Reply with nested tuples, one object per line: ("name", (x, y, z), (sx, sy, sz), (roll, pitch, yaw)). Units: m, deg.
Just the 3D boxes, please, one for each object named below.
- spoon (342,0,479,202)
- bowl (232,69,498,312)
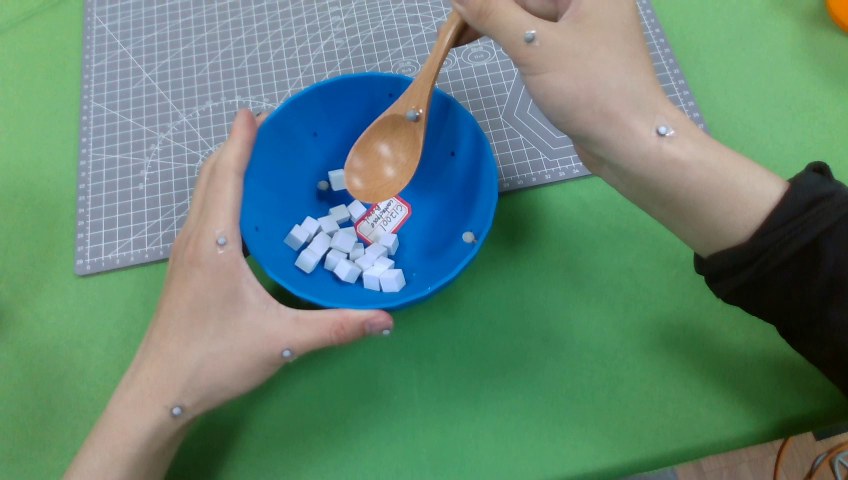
("spoon", (0.012, -0.104, 0.320), (0.041, 0.022, 0.194), (38, 109, 19))
("bowl", (-0.032, -0.020, 0.377), (0.151, 0.077, 0.150), (0, 69, 2))
